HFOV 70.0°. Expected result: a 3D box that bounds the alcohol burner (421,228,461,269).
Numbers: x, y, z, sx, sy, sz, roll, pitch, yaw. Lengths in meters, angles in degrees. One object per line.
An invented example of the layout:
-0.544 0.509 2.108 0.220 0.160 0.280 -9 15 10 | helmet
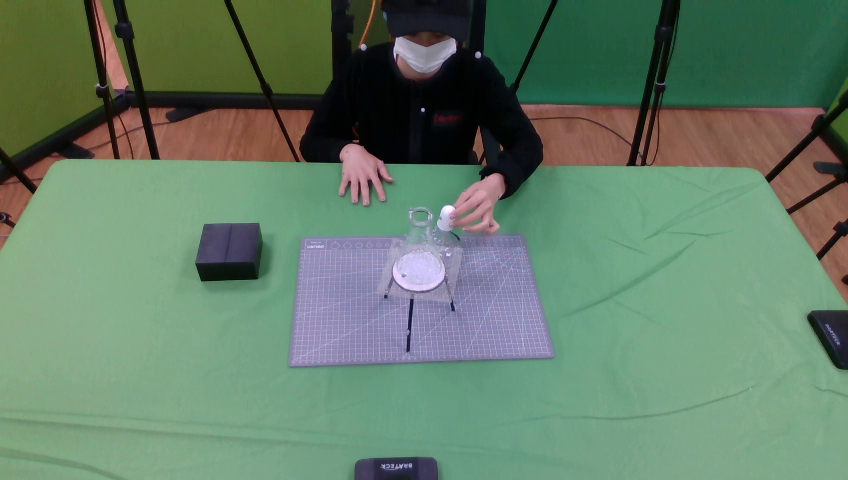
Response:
0.033 -0.001 1.135 0.078 0.119 0.077 2 48 -2 | alcohol burner

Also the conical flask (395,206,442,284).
-0.007 0.005 0.937 0.075 0.122 0.075 2 45 -1 | conical flask

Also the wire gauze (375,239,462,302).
-0.006 0.049 0.977 0.121 0.011 0.124 10 44 5 | wire gauze

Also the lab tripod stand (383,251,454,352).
-0.015 0.094 1.025 0.148 0.132 0.147 1 46 -1 | lab tripod stand

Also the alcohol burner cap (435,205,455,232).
0.040 -0.042 1.086 0.034 0.048 0.033 6 48 -7 | alcohol burner cap
